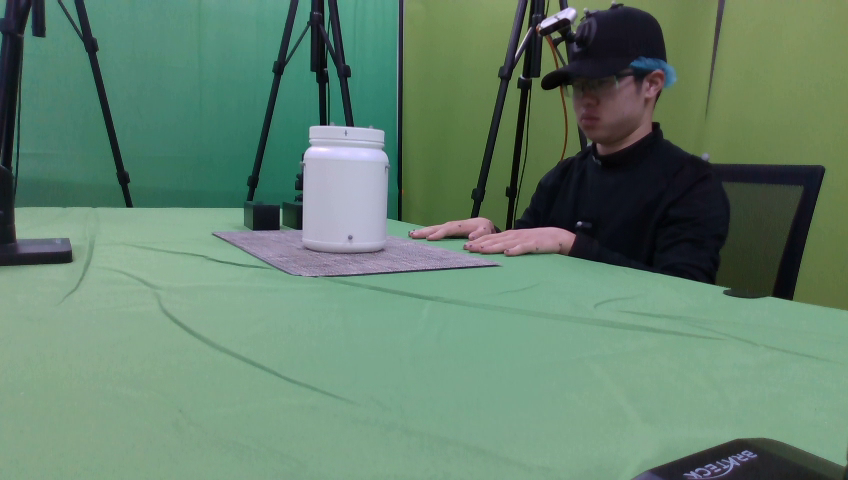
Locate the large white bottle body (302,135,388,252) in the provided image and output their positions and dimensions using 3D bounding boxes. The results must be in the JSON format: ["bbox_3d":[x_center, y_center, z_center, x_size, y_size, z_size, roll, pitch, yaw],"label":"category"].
[{"bbox_3d":[-0.122,-0.080,0.937,0.131,0.184,0.130,2,7,0],"label":"large white bottle body"}]

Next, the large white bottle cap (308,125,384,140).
[{"bbox_3d":[-0.119,-0.163,0.927,0.115,0.018,0.115,2,6,0],"label":"large white bottle cap"}]
